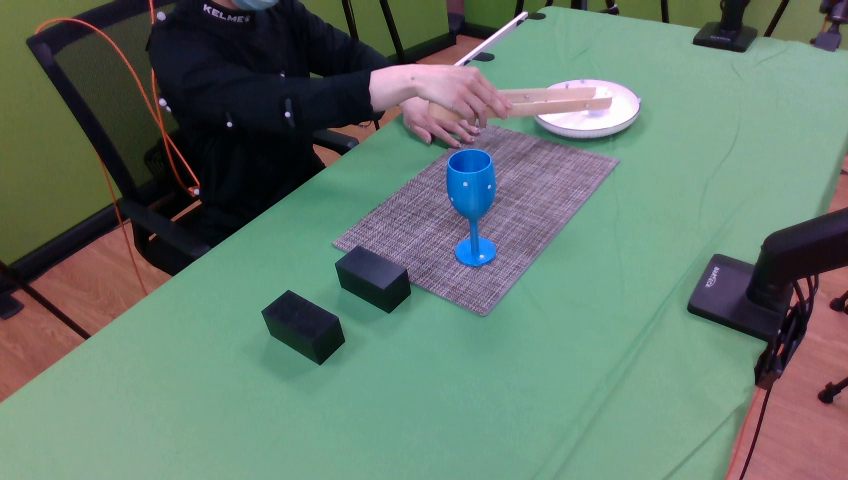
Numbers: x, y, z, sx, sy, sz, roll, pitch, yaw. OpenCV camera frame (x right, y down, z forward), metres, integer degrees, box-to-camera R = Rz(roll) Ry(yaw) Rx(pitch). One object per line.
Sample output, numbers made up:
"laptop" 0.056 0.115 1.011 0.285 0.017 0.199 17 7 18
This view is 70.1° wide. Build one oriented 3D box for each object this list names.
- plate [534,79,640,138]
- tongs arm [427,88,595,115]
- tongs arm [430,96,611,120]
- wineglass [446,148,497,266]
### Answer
"plate" 0.322 -0.259 1.212 0.209 0.038 0.208 -4 40 4
"tongs arm" 0.175 -0.259 1.118 0.387 0.026 0.050 -7 38 -24
"tongs arm" 0.189 -0.243 1.097 0.390 0.028 0.028 -9 42 -26
"wineglass" 0.072 -0.046 0.889 0.074 0.173 0.073 -4 41 4
